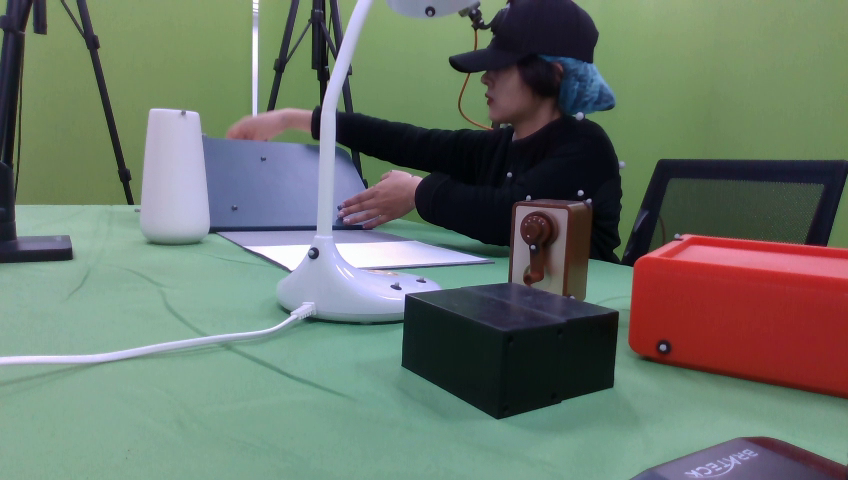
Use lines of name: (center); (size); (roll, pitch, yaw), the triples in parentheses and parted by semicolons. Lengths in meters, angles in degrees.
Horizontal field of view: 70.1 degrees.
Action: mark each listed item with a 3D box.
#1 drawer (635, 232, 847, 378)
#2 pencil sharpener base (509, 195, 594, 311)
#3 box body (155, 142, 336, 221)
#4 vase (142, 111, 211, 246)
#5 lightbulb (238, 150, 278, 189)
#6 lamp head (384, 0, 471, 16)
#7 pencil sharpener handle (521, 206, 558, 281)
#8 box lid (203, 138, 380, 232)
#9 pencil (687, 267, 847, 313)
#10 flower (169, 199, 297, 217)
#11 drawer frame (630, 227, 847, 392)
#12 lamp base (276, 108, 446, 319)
drawer: (0.292, 0.044, 0.488); (0.193, 0.073, 0.213); (7, 9, 30)
pencil sharpener base: (0.126, 0.011, 0.601); (0.061, 0.107, 0.077); (7, 9, 30)
box body: (-0.411, -0.135, 1.386); (0.366, 0.160, 0.253); (-2, 9, -29)
vase: (-0.378, -0.093, 0.920); (0.098, 0.200, 0.098); (2, 9, 0)
lightbulb: (-0.379, -0.163, 1.374); (0.059, 0.108, 0.059); (-34, 25, 18)
lamp head: (-0.001, -0.301, 0.599); (0.112, 0.112, 0.123); (4, -30, 14)
pencil sharpener handle: (0.101, 0.003, 0.555); (0.036, 0.067, 0.031); (0, 5, 31)
box lid: (-0.286, -0.112, 1.202); (0.373, 0.015, 0.262); (-2, 46, -30)
pencil: (0.308, 0.044, 0.515); (0.194, 0.012, 0.012); (13, 5, -12)
flower: (-0.423, -0.069, 1.398); (0.044, 0.038, 0.363); (4, 3, 31)
drawer frame: (0.292, 0.043, 0.484); (0.201, 0.082, 0.214); (7, 9, 29)
lamp base: (-0.061, -0.027, 0.556); (0.160, 0.180, 0.180); (4, 10, 20)
